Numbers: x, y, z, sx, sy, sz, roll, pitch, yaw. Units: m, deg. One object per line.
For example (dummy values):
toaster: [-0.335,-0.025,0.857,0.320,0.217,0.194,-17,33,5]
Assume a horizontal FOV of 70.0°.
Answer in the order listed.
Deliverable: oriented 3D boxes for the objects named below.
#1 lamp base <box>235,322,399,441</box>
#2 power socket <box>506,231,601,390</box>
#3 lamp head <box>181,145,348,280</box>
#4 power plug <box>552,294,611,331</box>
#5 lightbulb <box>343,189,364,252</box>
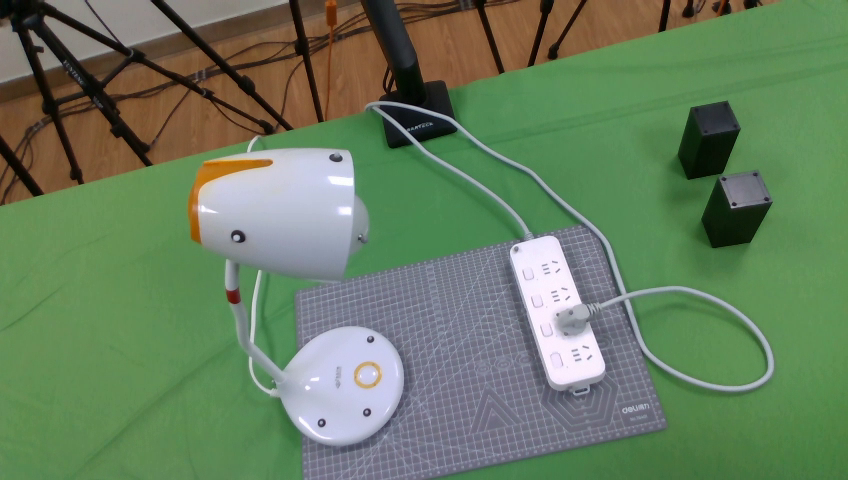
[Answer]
lamp base: [-0.136,0.150,0.737,0.179,0.182,0.159,-18,59,4]
power socket: [0.167,0.085,0.801,0.072,0.033,0.224,-15,59,1]
lamp head: [-0.128,-0.022,0.486,0.123,0.113,0.111,0,58,-14]
power plug: [0.199,0.096,0.767,0.072,0.053,0.035,-5,61,6]
lightbulb: [-0.102,-0.021,0.486,0.108,0.060,0.059,10,59,-16]
